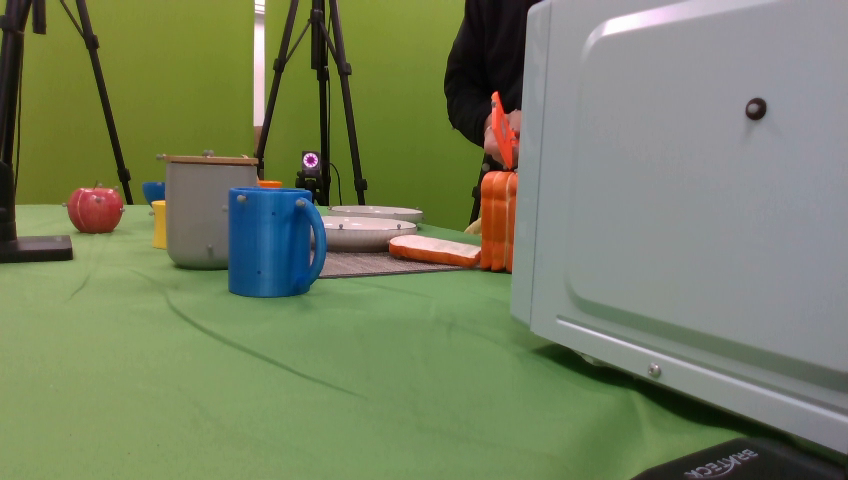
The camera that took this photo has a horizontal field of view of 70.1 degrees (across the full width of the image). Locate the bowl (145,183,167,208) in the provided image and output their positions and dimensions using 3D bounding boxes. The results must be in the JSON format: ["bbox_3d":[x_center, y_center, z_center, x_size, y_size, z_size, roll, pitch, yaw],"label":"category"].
[{"bbox_3d":[-0.459,-0.068,1.175,0.151,0.077,0.151,3,7,0],"label":"bowl"}]

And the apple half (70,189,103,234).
[{"bbox_3d":[-0.552,-0.048,1.010,0.053,0.074,0.081,-1,9,26],"label":"apple half"}]

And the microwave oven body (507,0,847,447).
[{"bbox_3d":[0.331,-0.042,0.425,0.444,0.260,0.324,-2,8,-31],"label":"microwave oven body"}]

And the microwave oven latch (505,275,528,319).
[{"bbox_3d":[0.100,0.042,0.471,0.079,0.029,0.030,-1,7,-28],"label":"microwave oven latch"}]

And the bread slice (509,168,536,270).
[{"bbox_3d":[0.134,-0.030,0.822,0.018,0.134,0.107,-1,7,21],"label":"bread slice"}]

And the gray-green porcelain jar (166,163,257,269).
[{"bbox_3d":[-0.263,-0.031,0.754,0.106,0.126,0.106,2,7,0],"label":"gray-green porcelain jar"}]

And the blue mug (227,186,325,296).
[{"bbox_3d":[-0.146,0.000,0.618,0.116,0.106,0.083,7,9,32],"label":"blue mug"}]

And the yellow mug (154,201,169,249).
[{"bbox_3d":[-0.337,-0.022,0.899,0.130,0.064,0.100,8,9,34],"label":"yellow mug"}]

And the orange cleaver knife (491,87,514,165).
[{"bbox_3d":[0.118,-0.147,0.858,0.012,0.077,0.212,-6,-12,17],"label":"orange cleaver knife"}]

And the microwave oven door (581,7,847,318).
[{"bbox_3d":[0.295,-0.067,0.569,0.358,0.243,0.039,-3,8,-31],"label":"microwave oven door"}]

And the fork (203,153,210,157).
[{"bbox_3d":[-0.480,-0.134,1.411,0.028,0.018,0.207,1,-35,0],"label":"fork"}]

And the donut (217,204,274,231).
[{"bbox_3d":[-0.317,-0.038,1.080,0.099,0.048,0.099,2,7,0],"label":"donut"}]

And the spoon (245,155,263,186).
[{"bbox_3d":[-0.421,-0.150,1.540,0.042,0.021,0.193,-5,55,-37],"label":"spoon"}]

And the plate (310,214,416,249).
[{"bbox_3d":[-0.116,-0.014,0.967,0.208,0.039,0.207,2,7,0],"label":"plate"}]

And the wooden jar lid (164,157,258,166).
[{"bbox_3d":[-0.261,-0.093,0.746,0.108,0.020,0.108,0,9,0],"label":"wooden jar lid"}]

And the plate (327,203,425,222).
[{"bbox_3d":[-0.102,-0.053,1.299,0.209,0.038,0.209,2,8,0],"label":"plate"}]

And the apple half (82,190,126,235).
[{"bbox_3d":[-0.516,-0.046,0.994,0.032,0.081,0.081,0,6,26],"label":"apple half"}]

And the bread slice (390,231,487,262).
[{"bbox_3d":[0.019,0.008,0.863,0.131,0.019,0.105,8,10,15],"label":"bread slice"}]
